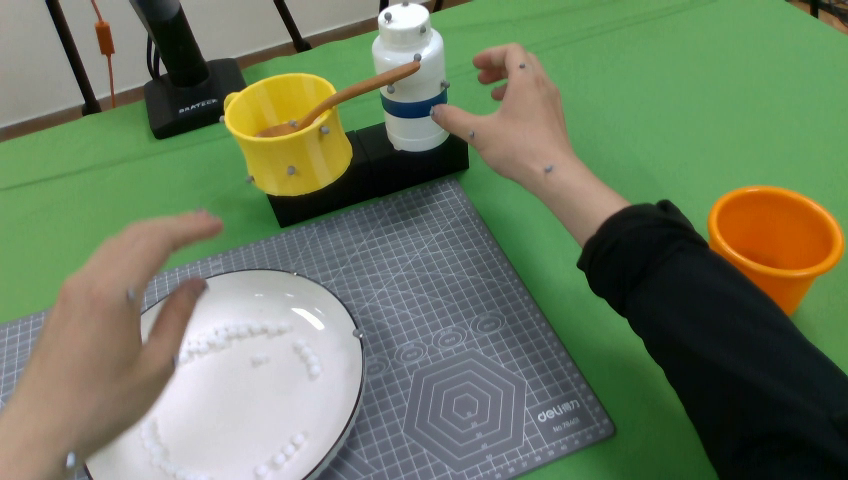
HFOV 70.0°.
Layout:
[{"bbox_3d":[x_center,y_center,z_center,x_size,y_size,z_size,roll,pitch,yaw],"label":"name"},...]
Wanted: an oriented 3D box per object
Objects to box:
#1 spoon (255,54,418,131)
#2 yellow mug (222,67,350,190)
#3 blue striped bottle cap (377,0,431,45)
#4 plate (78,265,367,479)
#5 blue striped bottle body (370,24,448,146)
[{"bbox_3d":[-0.083,-0.118,0.519,0.193,0.022,0.041,-19,34,36],"label":"spoon"},{"bbox_3d":[-0.137,-0.108,0.560,0.130,0.064,0.099,19,54,24],"label":"yellow mug"},{"bbox_3d":[-0.016,-0.184,0.506,0.044,0.021,0.044,-5,50,6],"label":"blue striped bottle cap"},{"bbox_3d":[-0.143,0.110,0.453,0.207,0.039,0.205,-3,49,4],"label":"plate"},{"bbox_3d":[-0.013,-0.150,0.544,0.063,0.122,0.062,-4,48,4],"label":"blue striped bottle body"}]
